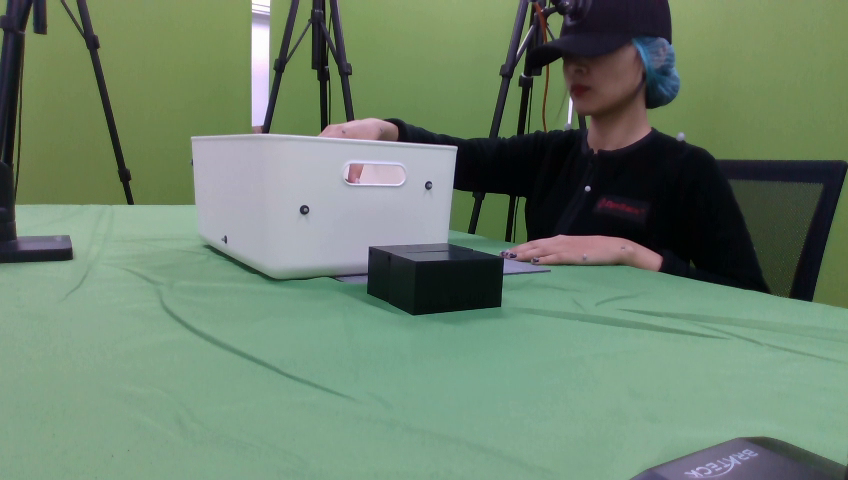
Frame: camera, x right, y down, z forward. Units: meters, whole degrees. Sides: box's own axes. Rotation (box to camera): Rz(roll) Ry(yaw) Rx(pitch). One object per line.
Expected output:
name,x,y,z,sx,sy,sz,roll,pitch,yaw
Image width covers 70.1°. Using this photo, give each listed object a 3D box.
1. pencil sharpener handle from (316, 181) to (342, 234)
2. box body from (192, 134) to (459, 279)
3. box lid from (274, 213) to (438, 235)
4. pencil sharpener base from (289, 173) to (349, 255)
pencil sharpener handle,-0.119,-0.042,0.787,0.036,0.067,0.030,2,7,-31
box body,-0.154,-0.059,0.840,0.255,0.160,0.362,-2,9,-33
box lid,-0.156,-0.037,1.283,0.264,0.015,0.370,-1,7,-25
pencil sharpener base,-0.145,-0.036,0.833,0.062,0.107,0.076,-1,9,-31
